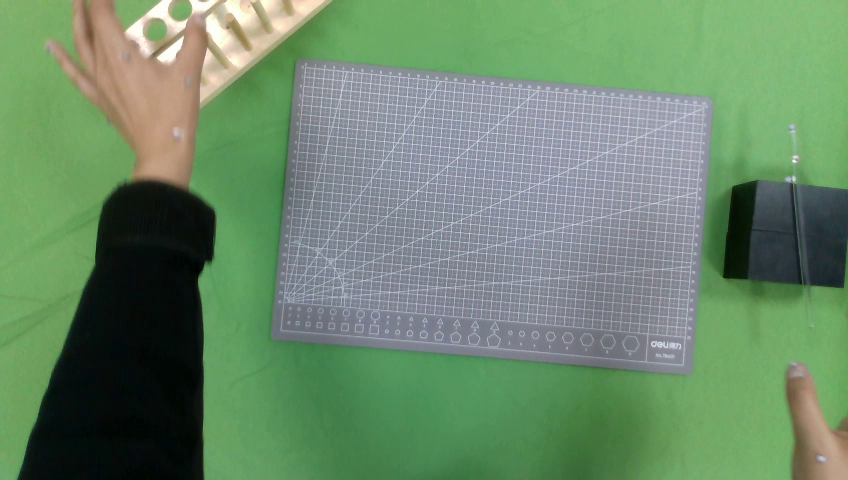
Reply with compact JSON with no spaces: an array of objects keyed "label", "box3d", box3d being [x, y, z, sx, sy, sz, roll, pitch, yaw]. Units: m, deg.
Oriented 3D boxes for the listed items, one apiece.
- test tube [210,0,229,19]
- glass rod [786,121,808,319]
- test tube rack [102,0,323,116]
[{"label":"test tube","box3d":[-0.206,-0.245,0.555,0.017,0.150,0.017,0,82,-1]},{"label":"glass rod","box3d":[0.375,-0.020,0.608,0.008,0.008,0.199,-4,90,-1]},{"label":"test tube rack","box3d":[-0.186,-0.235,0.605,0.242,0.085,0.067,-40,89,-2]}]
